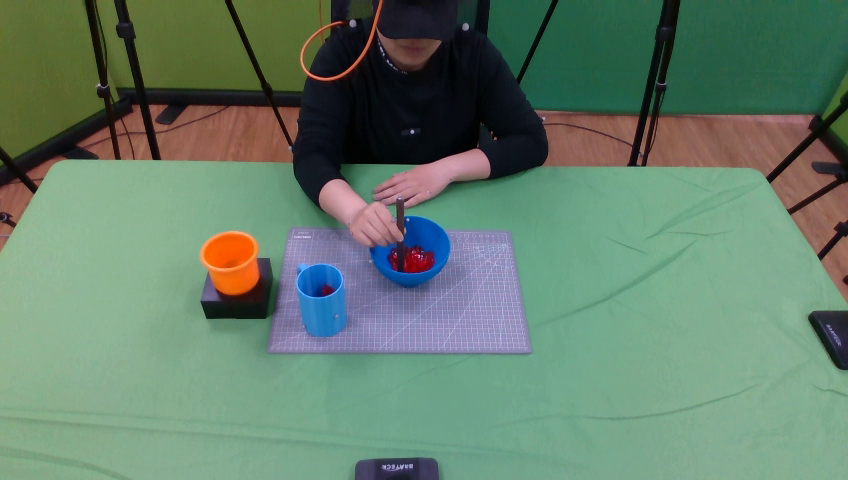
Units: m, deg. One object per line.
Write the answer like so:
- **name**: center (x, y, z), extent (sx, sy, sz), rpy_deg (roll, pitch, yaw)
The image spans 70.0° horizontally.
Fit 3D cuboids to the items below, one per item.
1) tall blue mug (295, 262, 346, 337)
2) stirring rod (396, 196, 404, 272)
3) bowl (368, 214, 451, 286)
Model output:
- **tall blue mug**: center (-0.187, 0.096, 1.027), extent (0.107, 0.108, 0.077), rpy_deg (21, 49, 16)
- **stirring rod**: center (-0.041, -0.004, 1.051), extent (0.014, 0.177, 0.006), rpy_deg (17, 44, 17)
- **bowl**: center (-0.028, 0.031, 1.122), extent (0.151, 0.077, 0.150), rpy_deg (2, 46, -2)
